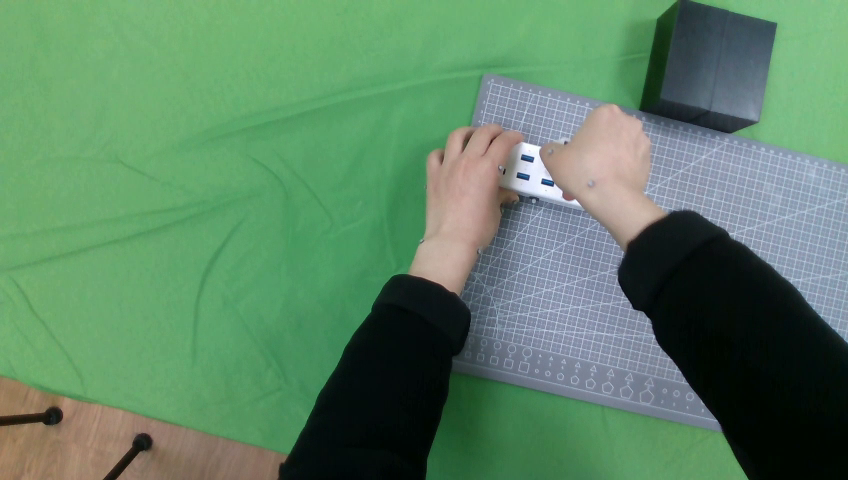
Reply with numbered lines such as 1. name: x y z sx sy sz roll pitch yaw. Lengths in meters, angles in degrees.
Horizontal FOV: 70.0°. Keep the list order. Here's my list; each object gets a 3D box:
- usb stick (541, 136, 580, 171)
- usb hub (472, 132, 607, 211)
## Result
1. usb stick: 0.125 -0.079 0.567 0.021 0.059 0.027 11 88 -4
2. usb hub: 0.114 -0.068 0.601 0.125 0.025 0.049 14 88 -5
